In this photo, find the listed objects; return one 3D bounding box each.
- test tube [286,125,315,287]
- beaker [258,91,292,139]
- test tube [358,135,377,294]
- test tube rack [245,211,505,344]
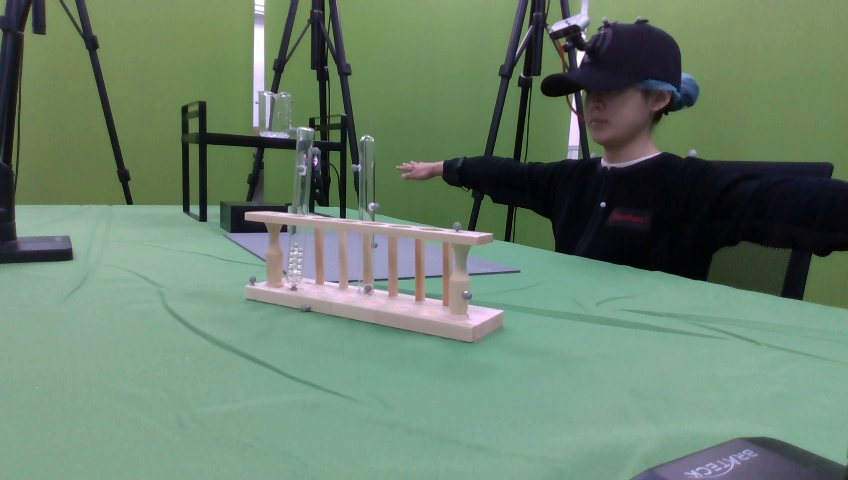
[{"bbox_3d":[-0.115,-0.030,0.560,0.017,0.150,0.017,6,8,-1],"label":"test tube"},{"bbox_3d":[-0.331,-0.276,1.343,0.074,0.100,0.083,0,8,-20],"label":"beaker"},{"bbox_3d":[-0.053,-0.022,0.565,0.017,0.150,0.017,2,6,0],"label":"test tube"},{"bbox_3d":[-0.049,0.025,0.547,0.241,0.085,0.067,7,8,28],"label":"test tube rack"}]
